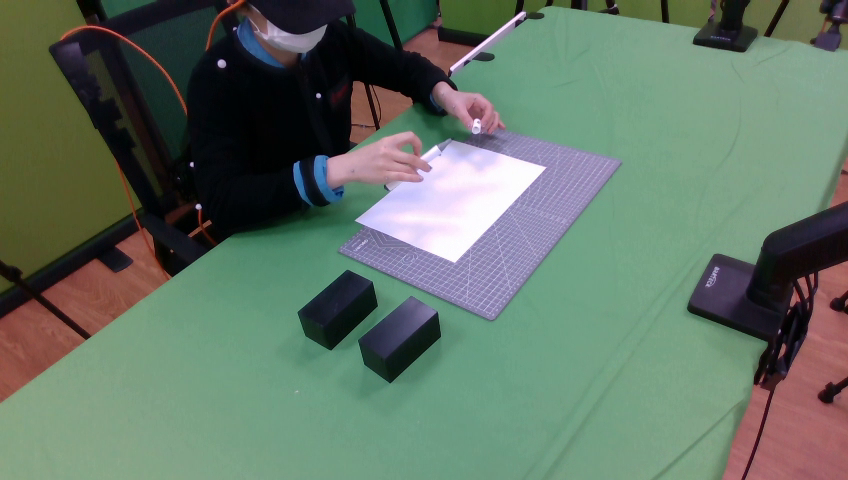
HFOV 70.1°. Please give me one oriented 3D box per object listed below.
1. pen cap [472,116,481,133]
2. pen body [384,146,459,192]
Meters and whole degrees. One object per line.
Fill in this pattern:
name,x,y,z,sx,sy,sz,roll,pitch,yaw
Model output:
pen cap,0.097,-0.215,1.123,0.017,0.017,0.038,-2,44,7
pen body,-0.003,-0.119,1.007,0.144,0.017,0.017,-29,38,15
